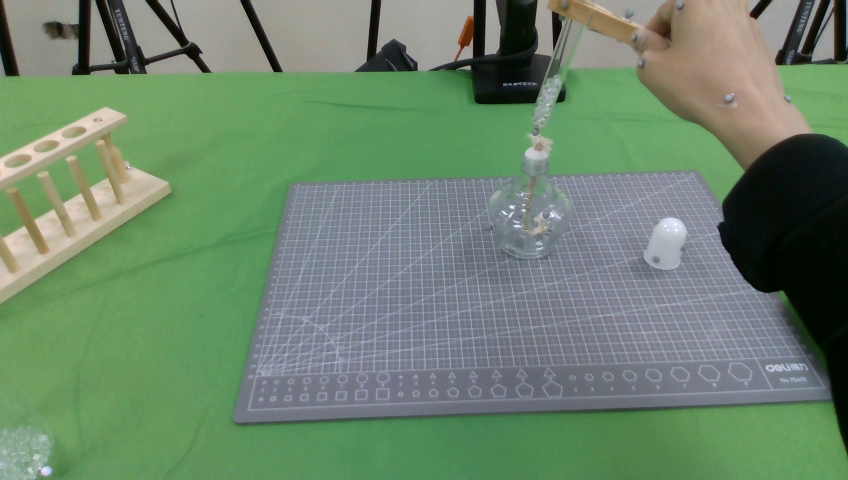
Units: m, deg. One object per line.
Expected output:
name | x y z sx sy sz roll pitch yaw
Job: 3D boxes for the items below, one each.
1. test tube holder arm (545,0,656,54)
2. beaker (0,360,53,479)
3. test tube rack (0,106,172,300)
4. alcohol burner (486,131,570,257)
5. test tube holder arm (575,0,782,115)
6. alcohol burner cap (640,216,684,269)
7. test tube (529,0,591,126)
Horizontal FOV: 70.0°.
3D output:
test tube holder arm | 0.126 -0.157 0.435 0.087 0.015 0.010 35 42 23
beaker | -0.294 0.117 0.383 0.084 0.101 0.073 -18 44 -18
test tube rack | -0.364 -0.028 0.561 0.066 0.086 0.241 22 46 24
alcohol burner | 0.096 -0.044 0.548 0.078 0.120 0.077 -1 39 1
test tube holder arm | 0.161 -0.134 0.418 0.013 0.015 0.176 -23 52 -39
alcohol burner cap | 0.218 0.000 0.551 0.034 0.048 0.033 -1 40 1
test tube | 0.109 -0.155 0.459 0.017 0.151 0.017 10 36 -7
